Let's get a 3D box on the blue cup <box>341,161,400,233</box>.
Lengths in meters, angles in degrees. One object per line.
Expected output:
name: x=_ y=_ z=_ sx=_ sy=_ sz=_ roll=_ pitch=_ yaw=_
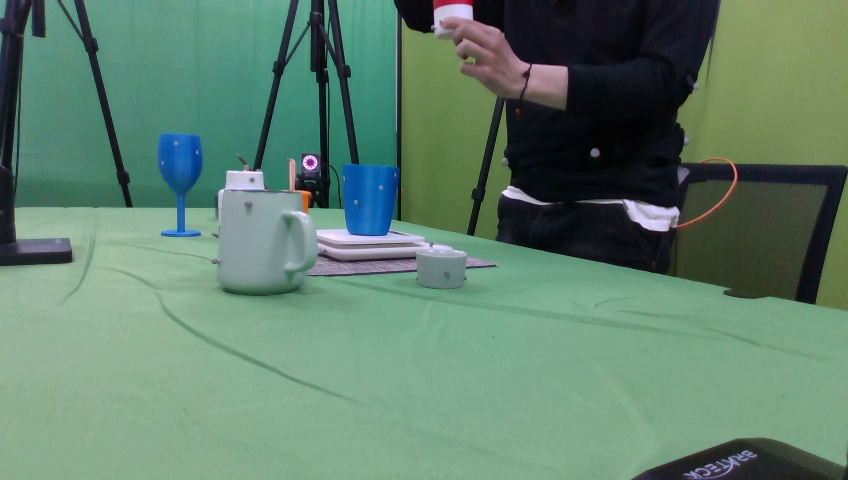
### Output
blue cup: x=-0.080 y=-0.062 z=0.883 sx=0.093 sy=0.100 sz=0.092 roll=2 pitch=4 yaw=0

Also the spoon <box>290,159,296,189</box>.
spoon: x=-0.273 y=-0.102 z=1.252 sx=0.042 sy=0.193 sz=0.021 roll=7 pitch=-38 yaw=-17

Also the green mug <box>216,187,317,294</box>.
green mug: x=-0.157 y=0.000 z=0.629 sx=0.124 sy=0.105 sz=0.093 roll=7 pitch=9 yaw=37

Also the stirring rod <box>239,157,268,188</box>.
stirring rod: x=-0.309 y=-0.098 z=1.209 sx=0.006 sy=0.177 sz=0.014 roll=-39 pitch=29 yaw=-4

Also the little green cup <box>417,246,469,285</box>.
little green cup: x=0.021 y=0.029 z=0.701 sx=0.061 sy=0.038 sz=0.061 roll=1 pitch=6 yaw=0

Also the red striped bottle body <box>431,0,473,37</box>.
red striped bottle body: x=0.042 y=-0.387 z=0.953 sx=0.063 sy=0.119 sz=0.063 roll=-5 pitch=7 yaw=1

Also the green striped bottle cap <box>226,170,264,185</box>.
green striped bottle cap: x=-0.222 y=-0.076 z=0.748 sx=0.044 sy=0.020 sz=0.044 roll=0 pitch=7 yaw=0

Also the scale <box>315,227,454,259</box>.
scale: x=-0.066 y=0.001 z=0.906 sx=0.202 sy=0.031 sz=0.148 roll=-2 pitch=8 yaw=-31

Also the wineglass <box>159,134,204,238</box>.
wineglass: x=-0.415 y=-0.093 z=1.040 sx=0.074 sy=0.172 sz=0.073 roll=2 pitch=7 yaw=0

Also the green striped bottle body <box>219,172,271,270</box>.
green striped bottle body: x=-0.223 y=-0.025 z=0.755 sx=0.063 sy=0.119 sz=0.063 roll=2 pitch=7 yaw=0
